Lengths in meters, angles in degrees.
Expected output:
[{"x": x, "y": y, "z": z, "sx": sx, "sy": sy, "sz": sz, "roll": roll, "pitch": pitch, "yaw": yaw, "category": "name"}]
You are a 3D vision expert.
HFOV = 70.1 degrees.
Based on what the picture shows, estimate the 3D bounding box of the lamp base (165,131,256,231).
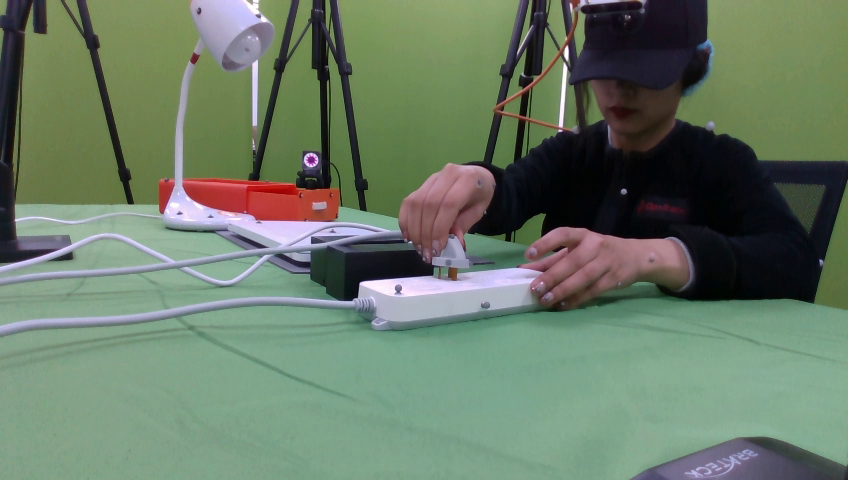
[{"x": -0.407, "y": -0.111, "z": 1.119, "sx": 0.179, "sy": 0.180, "sz": 0.161, "roll": -1, "pitch": 7, "yaw": 7, "category": "lamp base"}]

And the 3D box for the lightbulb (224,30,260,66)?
[{"x": -0.318, "y": -0.335, "z": 1.000, "sx": 0.107, "sy": 0.059, "sz": 0.059, "roll": 47, "pitch": 15, "yaw": 5, "category": "lightbulb"}]

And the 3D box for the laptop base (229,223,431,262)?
[{"x": -0.146, "y": 0.002, "z": 0.942, "sx": 0.237, "sy": 0.023, "sz": 0.352, "roll": 2, "pitch": 6, "yaw": -32, "category": "laptop base"}]

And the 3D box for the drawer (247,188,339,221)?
[{"x": -0.315, "y": -0.078, "z": 1.301, "sx": 0.211, "sy": 0.073, "sz": 0.195, "roll": 4, "pitch": 8, "yaw": 15, "category": "drawer"}]

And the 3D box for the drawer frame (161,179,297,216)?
[{"x": -0.421, "y": -0.089, "z": 1.329, "sx": 0.213, "sy": 0.082, "sz": 0.202, "roll": 4, "pitch": 8, "yaw": 16, "category": "drawer frame"}]

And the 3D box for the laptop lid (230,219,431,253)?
[{"x": -0.143, "y": -0.009, "z": 0.942, "sx": 0.243, "sy": 0.013, "sz": 0.355, "roll": 1, "pitch": 7, "yaw": -31, "category": "laptop lid"}]

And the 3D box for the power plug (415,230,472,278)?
[{"x": 0.018, "y": 0.017, "z": 0.589, "sx": 0.035, "sy": 0.052, "sz": 0.072, "roll": 6, "pitch": 0, "yaw": -24, "category": "power plug"}]

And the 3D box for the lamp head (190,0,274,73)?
[{"x": -0.331, "y": -0.355, "z": 1.008, "sx": 0.123, "sy": 0.112, "sz": 0.112, "roll": 43, "pitch": 15, "yaw": 6, "category": "lamp head"}]

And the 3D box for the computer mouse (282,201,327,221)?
[{"x": -0.254, "y": -0.062, "z": 1.292, "sx": 0.063, "sy": 0.041, "sz": 0.117, "roll": 1, "pitch": 2, "yaw": 10, "category": "computer mouse"}]

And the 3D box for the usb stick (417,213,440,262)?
[{"x": 0.005, "y": -0.003, "z": 0.721, "sx": 0.027, "sy": 0.059, "sz": 0.021, "roll": 0, "pitch": -4, "yaw": -2, "category": "usb stick"}]

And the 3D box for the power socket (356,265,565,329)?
[{"x": 0.041, "y": 0.049, "z": 0.572, "sx": 0.228, "sy": 0.032, "sz": 0.072, "roll": -4, "pitch": 8, "yaw": -35, "category": "power socket"}]
